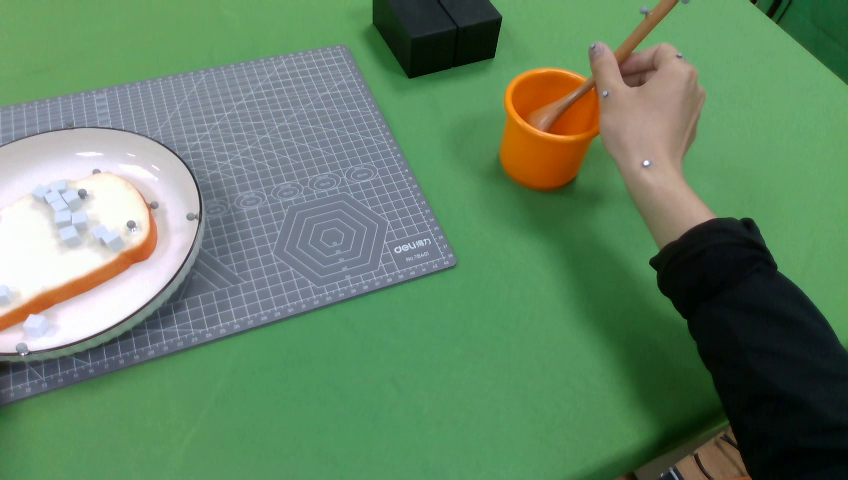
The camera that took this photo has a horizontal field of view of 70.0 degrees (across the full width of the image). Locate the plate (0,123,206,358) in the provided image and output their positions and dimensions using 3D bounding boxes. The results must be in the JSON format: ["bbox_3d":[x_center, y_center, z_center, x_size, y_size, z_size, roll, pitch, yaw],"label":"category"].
[{"bbox_3d":[-0.271,-0.003,0.460,0.209,0.038,0.207,3,55,-4],"label":"plate"}]

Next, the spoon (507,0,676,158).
[{"bbox_3d":[0.138,-0.139,0.513,0.022,0.194,0.041,27,35,-35],"label":"spoon"}]

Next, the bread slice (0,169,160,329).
[{"bbox_3d":[-0.276,-0.005,0.464,0.131,0.019,0.104,-31,64,-22],"label":"bread slice"}]
